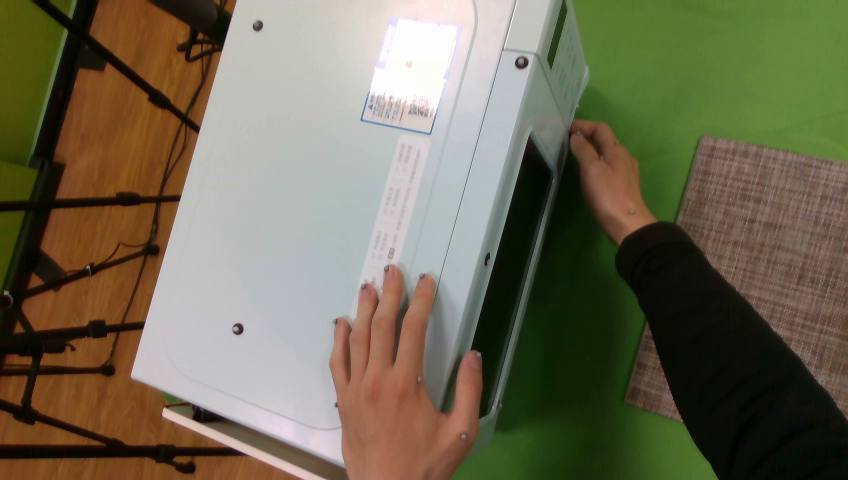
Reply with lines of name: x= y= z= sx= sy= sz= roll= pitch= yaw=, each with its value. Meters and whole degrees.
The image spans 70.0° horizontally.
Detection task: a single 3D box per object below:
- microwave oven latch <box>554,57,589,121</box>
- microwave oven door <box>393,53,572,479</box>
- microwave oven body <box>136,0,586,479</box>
microwave oven latch: x=0.157 y=-0.166 z=0.676 sx=0.030 sy=0.029 sz=0.079 roll=27 pitch=94 yaw=20
microwave oven door: x=0.067 y=0.037 z=0.577 sx=0.039 sy=0.245 sz=0.355 roll=14 pitch=89 yaw=21
microwave oven body: x=-0.052 y=-0.036 z=0.634 sx=0.324 sy=0.261 sz=0.441 roll=15 pitch=89 yaw=20
